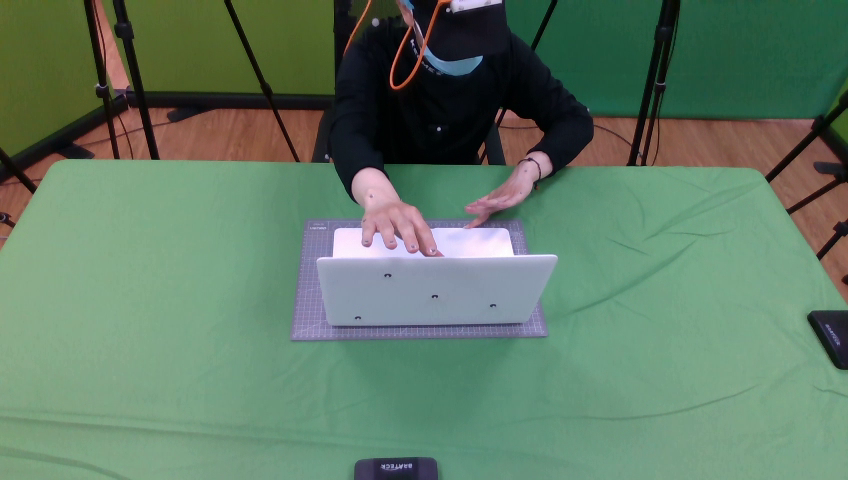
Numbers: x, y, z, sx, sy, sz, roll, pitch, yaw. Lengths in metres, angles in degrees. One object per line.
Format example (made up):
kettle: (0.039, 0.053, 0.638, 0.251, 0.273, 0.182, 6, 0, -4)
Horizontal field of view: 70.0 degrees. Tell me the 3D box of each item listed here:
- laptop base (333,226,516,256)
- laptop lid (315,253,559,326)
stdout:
laptop base: (0.005, 0.061, 1.136, 0.355, 0.023, 0.234, 0, 44, -4)
laptop lid: (0.016, 0.084, 0.954, 0.357, 0.242, 0.013, 0, 59, -5)
